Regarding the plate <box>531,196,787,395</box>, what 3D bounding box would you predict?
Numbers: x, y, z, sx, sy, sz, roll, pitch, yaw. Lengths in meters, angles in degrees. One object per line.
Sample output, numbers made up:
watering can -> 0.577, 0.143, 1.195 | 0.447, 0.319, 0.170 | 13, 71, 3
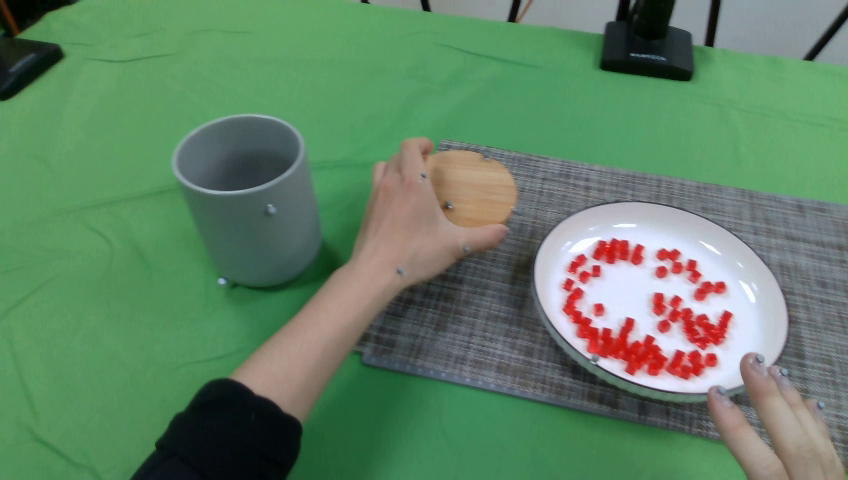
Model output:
plate -> 0.195, 0.045, 0.523 | 0.208, 0.039, 0.205 | 0, 47, 0

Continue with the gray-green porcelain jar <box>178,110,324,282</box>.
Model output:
gray-green porcelain jar -> -0.147, -0.033, 0.539 | 0.106, 0.127, 0.105 | 0, 47, 0

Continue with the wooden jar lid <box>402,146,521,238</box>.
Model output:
wooden jar lid -> 0.034, -0.043, 0.560 | 0.108, 0.021, 0.107 | -1, 52, 1
